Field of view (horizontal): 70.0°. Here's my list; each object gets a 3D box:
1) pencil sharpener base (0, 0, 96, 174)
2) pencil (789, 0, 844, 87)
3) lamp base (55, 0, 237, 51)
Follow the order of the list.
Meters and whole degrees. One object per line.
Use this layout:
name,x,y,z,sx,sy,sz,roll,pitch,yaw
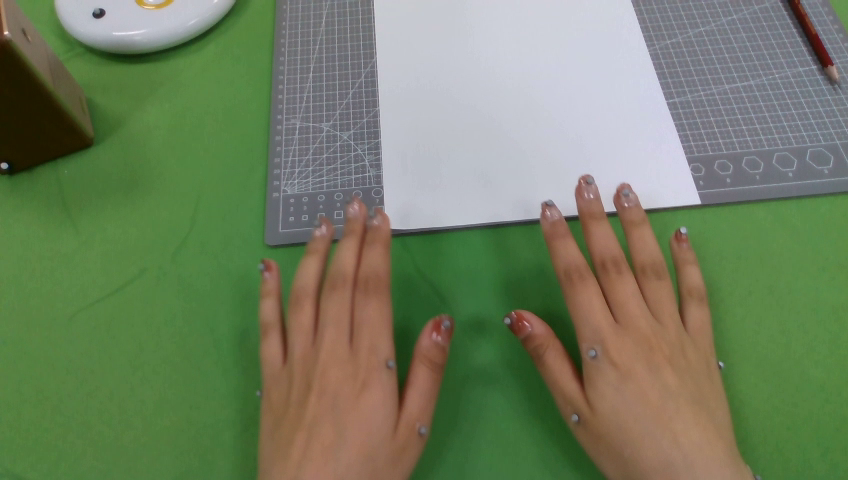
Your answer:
pencil sharpener base,-0.291,-0.105,0.414,0.077,0.108,0.061,-24,63,-9
pencil,0.297,-0.197,0.488,0.012,0.012,0.192,-6,62,0
lamp base,-0.246,-0.268,0.460,0.160,0.182,0.177,-33,62,-15
